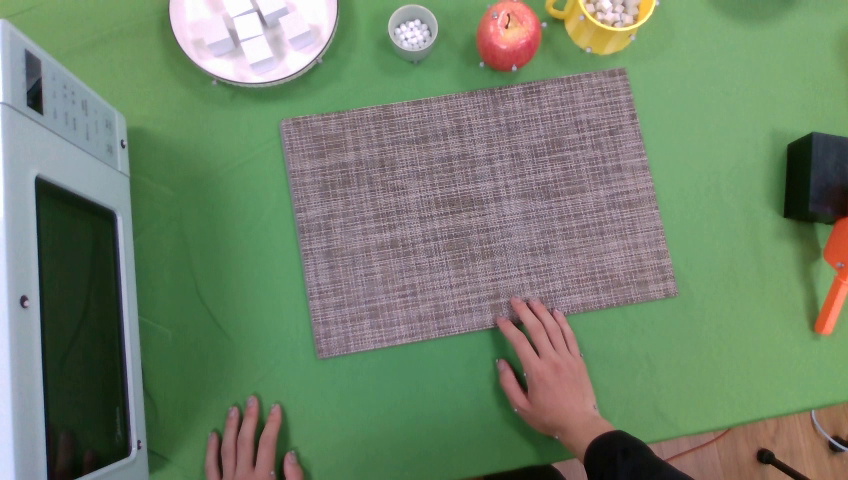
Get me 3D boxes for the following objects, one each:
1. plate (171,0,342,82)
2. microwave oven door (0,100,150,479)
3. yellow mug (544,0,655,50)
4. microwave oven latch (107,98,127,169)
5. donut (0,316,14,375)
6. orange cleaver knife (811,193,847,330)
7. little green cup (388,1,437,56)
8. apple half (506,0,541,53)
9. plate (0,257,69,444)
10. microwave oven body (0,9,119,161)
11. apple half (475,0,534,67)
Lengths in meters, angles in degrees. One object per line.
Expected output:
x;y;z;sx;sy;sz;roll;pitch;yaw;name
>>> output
-0.207;-0.293;0.761;0.208;0.039;0.207;0;82;-3;plate
-0.340;0.077;0.583;0.039;0.244;0.354;-7;82;-3;microwave oven door
0.218;-0.302;0.770;0.131;0.064;0.099;1;82;-2;yellow mug
-0.368;-0.124;0.711;0.030;0.029;0.079;-5;83;-4;microwave oven latch
-0.472;0.111;0.616;0.099;0.048;0.099;0;83;-2;donut
0.507;0.007;0.731;0.012;0.076;0.212;10;114;1;orange cleaver knife
-0.014;-0.265;0.767;0.061;0.039;0.061;0;82;-2;little green cup
0.124;-0.273;0.757;0.033;0.081;0.081;-37;85;-2;apple half
-0.474;0.116;0.628;0.209;0.038;0.208;1;83;-4;plate
-0.490;0.052;0.584;0.326;0.260;0.440;-7;83;-4;microwave oven body
0.092;-0.250;0.753;0.053;0.074;0.081;-36;89;-2;apple half
